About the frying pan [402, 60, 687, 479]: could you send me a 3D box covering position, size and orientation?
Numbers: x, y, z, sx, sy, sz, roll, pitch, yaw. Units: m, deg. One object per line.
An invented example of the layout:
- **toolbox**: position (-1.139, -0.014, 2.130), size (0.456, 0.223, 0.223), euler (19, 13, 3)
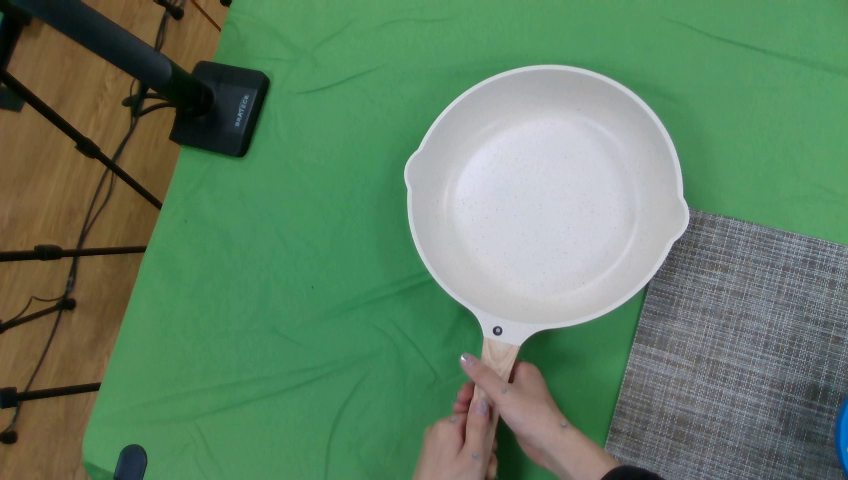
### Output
- **frying pan**: position (0.098, 0.045, 0.654), size (0.305, 0.103, 0.486), euler (14, 76, 16)

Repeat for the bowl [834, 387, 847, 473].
- **bowl**: position (0.451, 0.180, 0.557), size (0.151, 0.077, 0.151), euler (-2, 80, 13)
